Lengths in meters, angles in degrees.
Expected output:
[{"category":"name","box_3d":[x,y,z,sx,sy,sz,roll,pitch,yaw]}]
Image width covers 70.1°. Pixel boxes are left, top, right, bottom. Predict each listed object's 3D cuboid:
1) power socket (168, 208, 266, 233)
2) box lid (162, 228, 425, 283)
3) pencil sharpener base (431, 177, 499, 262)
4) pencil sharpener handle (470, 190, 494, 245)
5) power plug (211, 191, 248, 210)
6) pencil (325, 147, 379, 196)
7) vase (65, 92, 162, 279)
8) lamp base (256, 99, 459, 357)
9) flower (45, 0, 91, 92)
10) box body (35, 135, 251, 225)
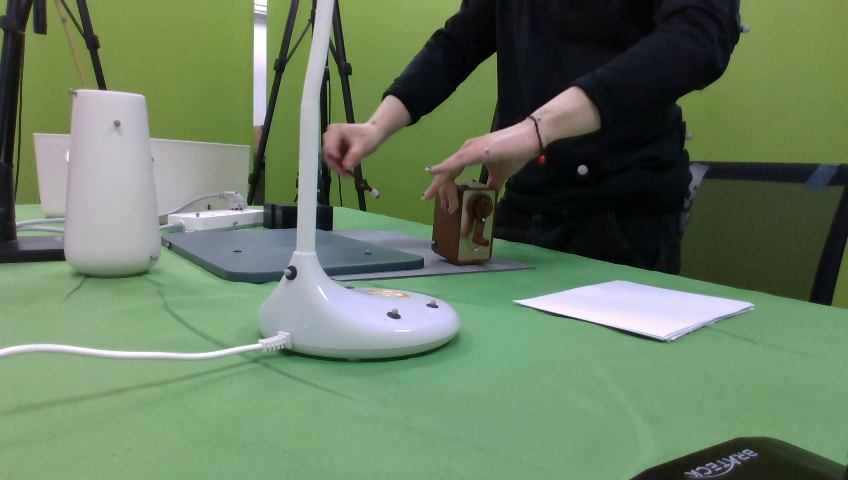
[{"category":"power socket","box_3d":[-0.379,-0.038,1.129,0.072,0.032,0.227,4,8,18]},{"category":"box lid","box_3d":[-0.200,0.014,0.861,0.265,0.015,0.369,-3,9,-35]},{"category":"pencil sharpener base","box_3d":[0.056,-0.029,0.836,0.061,0.107,0.076,-3,15,-30]},{"category":"pencil sharpener handle","box_3d":[0.080,-0.029,0.789,0.036,0.067,0.030,7,10,-32]},{"category":"power plug","box_3d":[-0.384,-0.071,1.205,0.072,0.052,0.035,1,8,28]},{"category":"pencil","box_3d":[-0.117,-0.112,1.003,0.012,0.012,0.195,5,-15,22]},{"category":"vase","box_3d":[-0.347,-0.060,0.673,0.098,0.200,0.098,1,7,0]},{"category":"lamp base","box_3d":[-0.055,-0.013,0.463,0.160,0.180,0.180,6,11,27]},{"category":"flower","box_3d":[-0.361,-0.142,0.663,0.044,0.361,0.038,-12,11,30]},{"category":"box body","box_3d":[-0.559,-0.127,1.257,0.253,0.160,0.365,4,8,15]}]
